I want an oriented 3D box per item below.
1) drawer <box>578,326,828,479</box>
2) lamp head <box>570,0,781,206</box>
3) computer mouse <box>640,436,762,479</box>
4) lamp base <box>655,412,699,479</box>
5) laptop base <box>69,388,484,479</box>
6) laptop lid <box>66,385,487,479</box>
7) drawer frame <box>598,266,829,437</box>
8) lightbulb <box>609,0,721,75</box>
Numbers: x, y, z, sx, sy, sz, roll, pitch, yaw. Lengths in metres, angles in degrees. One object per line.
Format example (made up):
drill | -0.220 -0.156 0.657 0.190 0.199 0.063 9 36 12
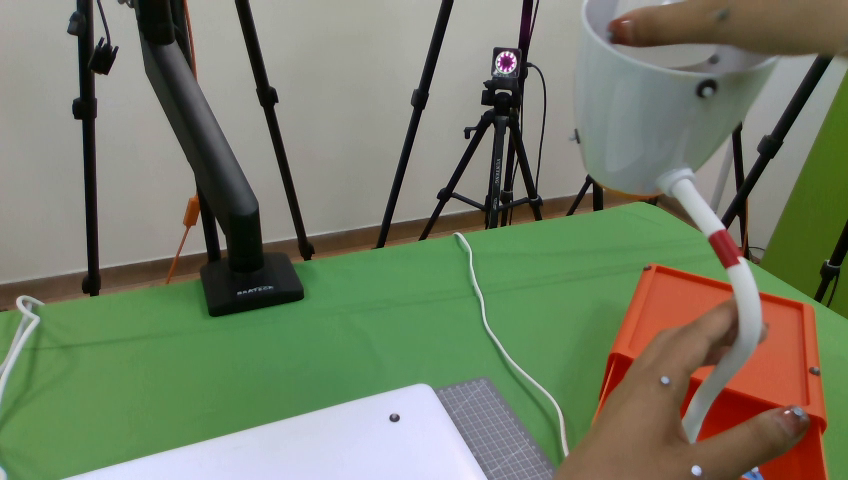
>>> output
drawer | 0.272 0.178 0.592 0.193 0.074 0.211 14 30 21
lamp head | 0.144 -0.081 0.379 0.112 0.124 0.111 -1 43 2
computer mouse | 0.251 0.217 0.546 0.117 0.041 0.062 15 30 14
lamp base | 0.166 0.217 0.394 0.161 0.181 0.177 1 26 -8
laptop base | -0.112 0.244 0.491 0.355 0.023 0.233 -10 34 -23
laptop lid | -0.111 0.234 0.483 0.358 0.013 0.239 -9 33 -21
drawer frame | 0.321 0.130 0.679 0.200 0.083 0.213 15 30 22
lightbulb | 0.138 -0.104 0.361 0.059 0.109 0.059 -3 48 3
